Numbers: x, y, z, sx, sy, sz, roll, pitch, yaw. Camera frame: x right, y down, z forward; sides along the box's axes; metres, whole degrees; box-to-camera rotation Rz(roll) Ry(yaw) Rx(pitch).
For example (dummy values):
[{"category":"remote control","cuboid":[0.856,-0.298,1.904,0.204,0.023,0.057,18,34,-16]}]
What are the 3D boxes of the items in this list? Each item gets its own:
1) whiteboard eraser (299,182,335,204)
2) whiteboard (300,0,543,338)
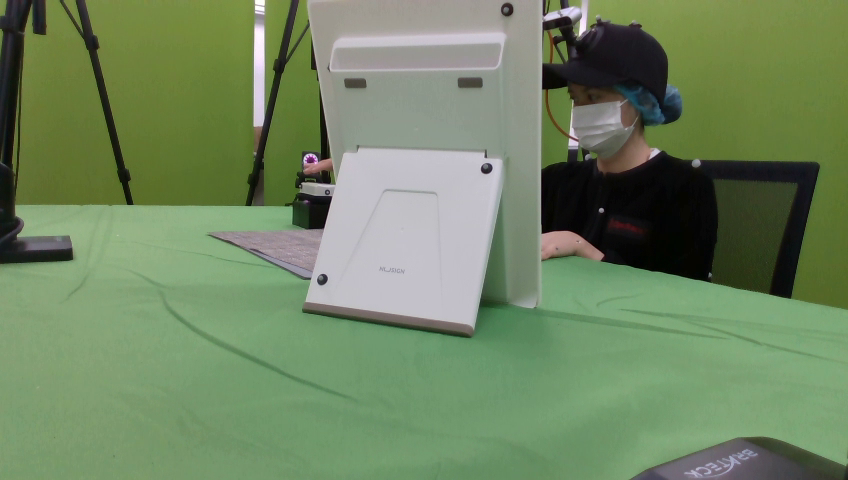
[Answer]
[{"category":"whiteboard eraser","cuboid":[-0.214,-0.097,1.231,0.056,0.042,0.112,-3,9,-28]},{"category":"whiteboard","cuboid":[-0.020,-0.050,0.523,0.216,0.305,0.144,6,27,22]}]
